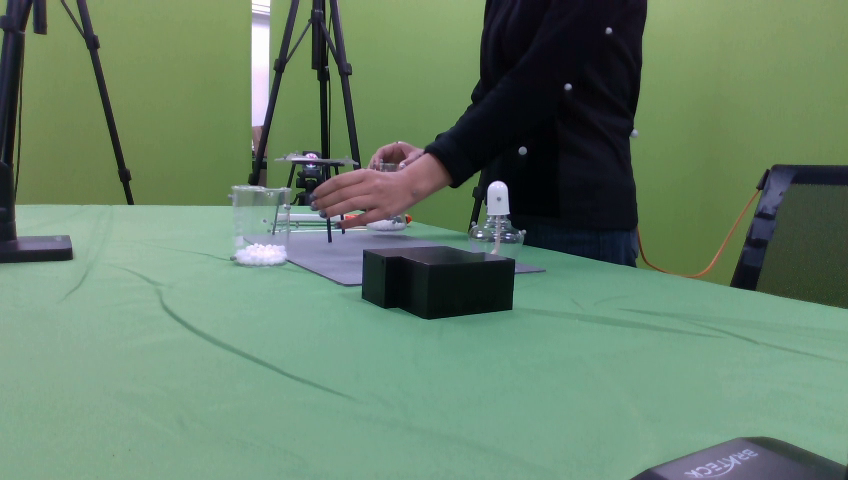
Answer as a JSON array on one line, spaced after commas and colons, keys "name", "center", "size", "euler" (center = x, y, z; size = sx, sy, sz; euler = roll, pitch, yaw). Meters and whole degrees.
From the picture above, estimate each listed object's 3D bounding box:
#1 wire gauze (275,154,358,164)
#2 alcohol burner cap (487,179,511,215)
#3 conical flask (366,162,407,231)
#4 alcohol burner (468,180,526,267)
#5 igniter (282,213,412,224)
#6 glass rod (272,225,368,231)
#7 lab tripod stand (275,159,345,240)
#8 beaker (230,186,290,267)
[{"name": "wire gauze", "center": [-0.179, -0.137, 1.028], "size": [0.121, 0.011, 0.125], "euler": [4, 8, 0]}, {"name": "alcohol burner cap", "center": [0.100, -0.058, 0.816], "size": [0.034, 0.048, 0.034], "euler": [-3, 9, 1]}, {"name": "conical flask", "center": [-0.066, -0.079, 1.094], "size": [0.075, 0.122, 0.075], "euler": [3, 8, 0]}, {"name": "alcohol burner", "center": [0.101, -0.022, 0.821], "size": [0.078, 0.119, 0.078], "euler": [4, 8, 0]}, {"name": "igniter", "center": [-0.159, -0.046, 1.287], "size": [0.278, 0.025, 0.057], "euler": [-1, -3, -21]}, {"name": "glass rod", "center": [-0.197, -0.023, 1.170], "size": [0.201, 0.008, 0.008], "euler": [-3, 9, -34]}, {"name": "lab tripod stand", "center": [-0.181, -0.072, 1.039], "size": [0.148, 0.131, 0.148], "euler": [4, 8, 0]}, {"name": "beaker", "center": [-0.209, -0.019, 0.778], "size": [0.074, 0.100, 0.084], "euler": [3, 6, 4]}]
